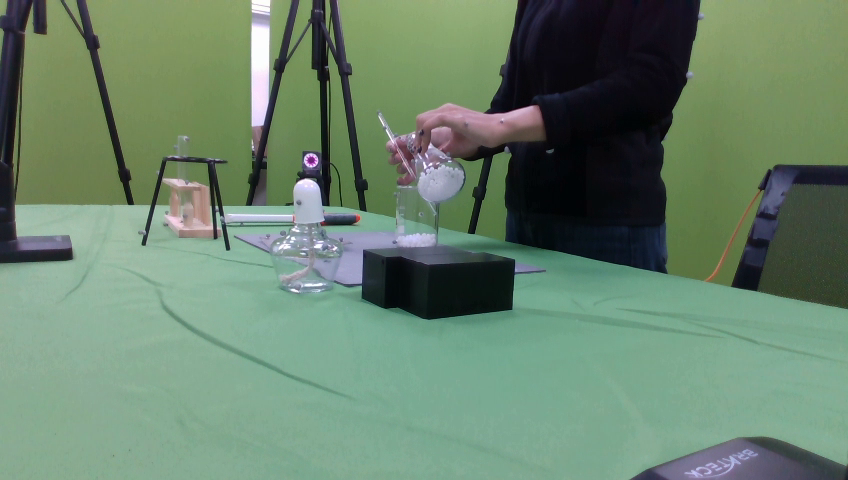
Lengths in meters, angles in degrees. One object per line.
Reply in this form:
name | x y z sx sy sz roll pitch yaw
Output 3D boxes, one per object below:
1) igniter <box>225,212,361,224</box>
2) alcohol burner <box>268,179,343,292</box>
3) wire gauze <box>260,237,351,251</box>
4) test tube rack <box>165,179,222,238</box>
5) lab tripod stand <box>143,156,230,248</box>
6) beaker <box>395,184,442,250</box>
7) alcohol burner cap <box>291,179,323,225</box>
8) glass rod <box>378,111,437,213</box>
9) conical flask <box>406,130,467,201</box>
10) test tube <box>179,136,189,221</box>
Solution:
igniter | -0.262 -0.045 1.240 0.278 0.025 0.057 -2 -1 -31
alcohol burner | -0.124 -0.005 0.637 0.078 0.119 0.078 4 8 0
wire gauze | -0.185 0.004 0.938 0.122 0.011 0.124 -1 5 -24
test tube rack | -0.423 -0.062 1.098 0.067 0.085 0.241 -2 9 -28
lab tripod stand | -0.338 -0.058 0.908 0.148 0.131 0.148 4 7 0
beaker | -0.009 -0.038 0.968 0.074 0.100 0.084 6 8 21
alcohol burner cap | -0.124 -0.040 0.632 0.034 0.048 0.034 -3 10 1
glass rod | -0.028 -0.127 0.971 0.008 0.199 0.008 -27 -15 -7
conical flask | 0.010 -0.119 0.906 0.076 0.075 0.121 -1 40 -24
test tube | -0.425 -0.108 1.070 0.017 0.150 0.017 4 9 0
